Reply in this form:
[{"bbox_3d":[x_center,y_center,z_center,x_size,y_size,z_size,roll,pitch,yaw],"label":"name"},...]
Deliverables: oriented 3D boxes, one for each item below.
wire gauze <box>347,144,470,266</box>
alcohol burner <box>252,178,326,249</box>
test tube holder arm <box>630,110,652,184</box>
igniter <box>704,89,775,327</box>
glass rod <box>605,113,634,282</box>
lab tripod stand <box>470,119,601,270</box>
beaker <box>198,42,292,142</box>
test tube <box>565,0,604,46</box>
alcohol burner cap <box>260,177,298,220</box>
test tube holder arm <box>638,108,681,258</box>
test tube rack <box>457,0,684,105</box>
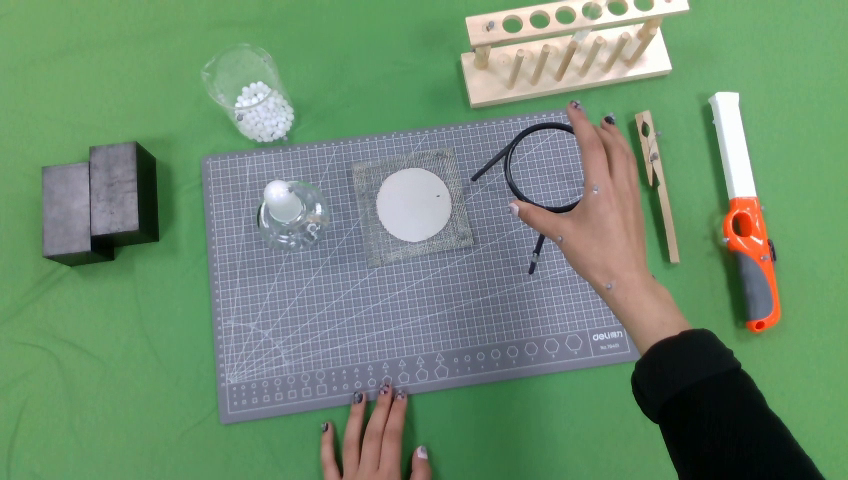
[{"bbox_3d":[-0.018,-0.043,0.685,0.121,0.011,0.124,-11,81,-4],"label":"wire gauze"},{"bbox_3d":[-0.143,-0.033,0.627,0.078,0.119,0.077,0,75,1],"label":"alcohol burner"},{"bbox_3d":[0.255,-0.108,0.702,0.010,0.015,0.087,-17,76,33],"label":"test tube holder arm"},{"bbox_3d":[0.355,-0.040,0.683,0.057,0.025,0.275,-1,77,-11],"label":"igniter"},{"bbox_3d":[0.224,-0.051,0.694,0.008,0.008,0.199,-5,81,-2],"label":"glass rod"},{"bbox_3d":[0.113,-0.054,0.615,0.148,0.132,0.147,0,76,1],"label":"lab tripod stand"},{"bbox_3d":[-0.191,-0.157,0.664,0.084,0.100,0.073,10,77,2],"label":"beaker"},{"bbox_3d":[0.181,-0.252,0.647,0.017,0.150,0.017,2,75,-6],"label":"test tube"},{"bbox_3d":[-0.144,-0.043,0.592,0.034,0.048,0.033,1,67,-2],"label":"alcohol burner cap"},{"bbox_3d":[0.267,-0.066,0.690,0.013,0.015,0.177,-18,75,33],"label":"test tube holder arm"},{"bbox_3d":[0.164,-0.223,0.691,0.242,0.085,0.066,-11,77,-3],"label":"test tube rack"}]
